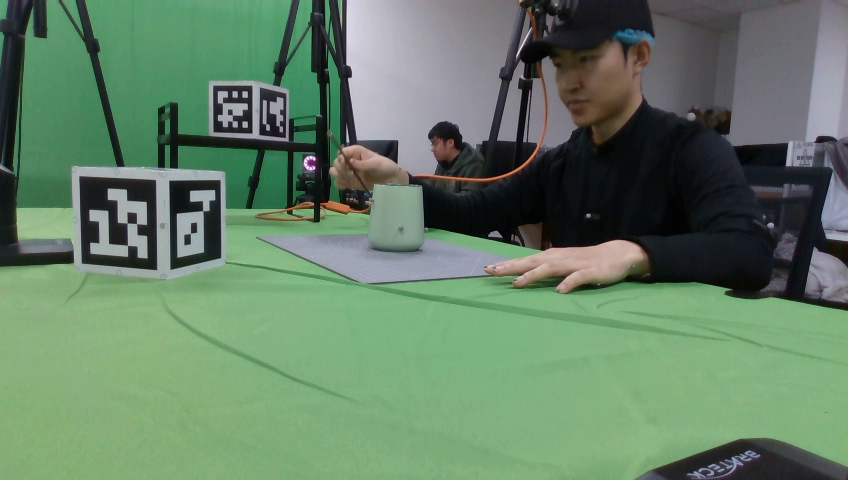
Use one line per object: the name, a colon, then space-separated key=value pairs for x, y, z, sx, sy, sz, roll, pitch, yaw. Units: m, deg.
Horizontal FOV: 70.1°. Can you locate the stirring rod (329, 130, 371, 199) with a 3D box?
stirring rod: x=-0.133 y=-0.135 z=1.127 sx=0.006 sy=0.177 sz=0.014 roll=-37 pitch=42 yaw=-8

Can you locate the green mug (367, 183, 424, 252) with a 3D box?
green mug: x=-0.054 y=-0.039 z=0.989 sx=0.093 sy=0.105 sz=0.124 roll=-1 pitch=8 yaw=-29
